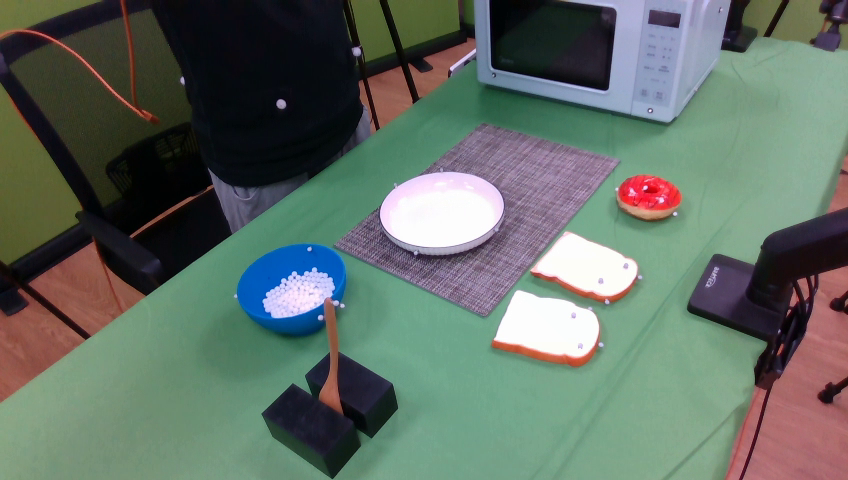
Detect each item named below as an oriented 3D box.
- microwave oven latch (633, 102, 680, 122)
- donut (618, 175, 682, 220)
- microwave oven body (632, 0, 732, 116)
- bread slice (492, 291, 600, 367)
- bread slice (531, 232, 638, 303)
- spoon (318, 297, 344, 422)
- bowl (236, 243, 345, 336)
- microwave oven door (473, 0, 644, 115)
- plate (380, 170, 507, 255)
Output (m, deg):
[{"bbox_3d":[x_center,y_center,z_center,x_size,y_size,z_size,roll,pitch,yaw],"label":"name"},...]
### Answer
[{"bbox_3d":[0.444,-0.249,1.157,0.078,0.029,0.030,22,49,30],"label":"microwave oven latch"},{"bbox_3d":[0.366,-0.070,0.981,0.099,0.048,0.098,-3,39,3],"label":"donut"},{"bbox_3d":[0.377,-0.462,1.267,0.438,0.261,0.327,21,48,30],"label":"microwave oven body"},{"bbox_3d":[0.169,0.118,0.811,0.131,0.019,0.105,11,44,21],"label":"bread slice"},{"bbox_3d":[0.242,0.042,0.888,0.133,0.018,0.107,22,49,30],"label":"bread slice"},{"bbox_3d":[-0.107,0.139,0.687,0.041,0.194,0.022,26,37,31],"label":"spoon"},{"bbox_3d":[-0.180,0.082,0.855,0.151,0.077,0.150,-4,41,4],"label":"bowl"},{"bbox_3d":[0.257,-0.396,1.199,0.353,0.245,0.039,21,48,29],"label":"microwave oven door"},{"bbox_3d":[0.033,-0.042,0.995,0.207,0.039,0.206,-4,40,4],"label":"plate"}]
